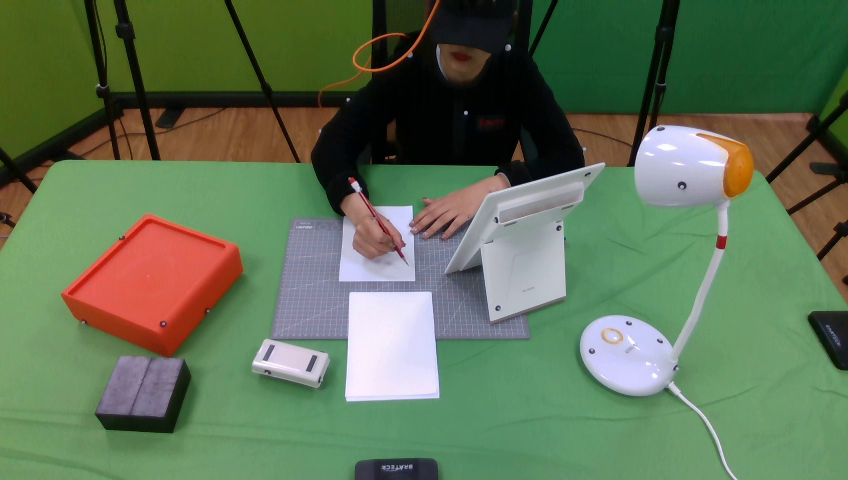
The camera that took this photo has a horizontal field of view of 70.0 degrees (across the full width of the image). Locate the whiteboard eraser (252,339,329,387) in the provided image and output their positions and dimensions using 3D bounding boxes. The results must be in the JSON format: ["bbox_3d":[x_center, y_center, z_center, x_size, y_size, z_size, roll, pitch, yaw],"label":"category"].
[{"bbox_3d":[-0.215,0.199,0.976,0.112,0.042,0.055,12,45,7],"label":"whiteboard eraser"}]

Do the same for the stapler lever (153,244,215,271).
[{"bbox_3d":[-0.430,0.025,1.088,0.118,0.040,0.027,16,33,13],"label":"stapler lever"}]

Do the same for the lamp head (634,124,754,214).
[{"bbox_3d":[0.351,-0.089,0.775,0.112,0.113,0.122,-30,30,-28],"label":"lamp head"}]

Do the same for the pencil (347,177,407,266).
[{"bbox_3d":[-0.084,-0.033,1.113,0.012,0.012,0.194,-38,100,-33],"label":"pencil"}]

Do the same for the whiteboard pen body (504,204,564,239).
[{"bbox_3d":[0.227,-0.036,1.251,0.140,0.017,0.017,31,52,21],"label":"whiteboard pen body"}]

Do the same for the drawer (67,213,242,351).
[{"bbox_3d":[-0.461,0.068,1.056,0.194,0.073,0.211,19,48,13],"label":"drawer"}]

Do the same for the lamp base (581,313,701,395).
[{"bbox_3d":[0.361,0.144,0.973,0.178,0.181,0.160,34,53,23],"label":"lamp base"}]

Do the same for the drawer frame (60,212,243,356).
[{"bbox_3d":[-0.462,0.070,1.053,0.201,0.083,0.213,18,48,12],"label":"drawer frame"}]

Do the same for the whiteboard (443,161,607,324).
[{"bbox_3d":[0.185,0.026,1.028,0.217,0.306,0.143,-15,68,-18],"label":"whiteboard"}]

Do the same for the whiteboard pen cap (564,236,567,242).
[{"bbox_3d":[0.271,-0.008,1.225,0.033,0.018,0.018,34,53,23],"label":"whiteboard pen cap"}]

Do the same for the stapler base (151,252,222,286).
[{"bbox_3d":[-0.432,0.047,1.103,0.130,0.024,0.041,16,33,12],"label":"stapler base"}]
